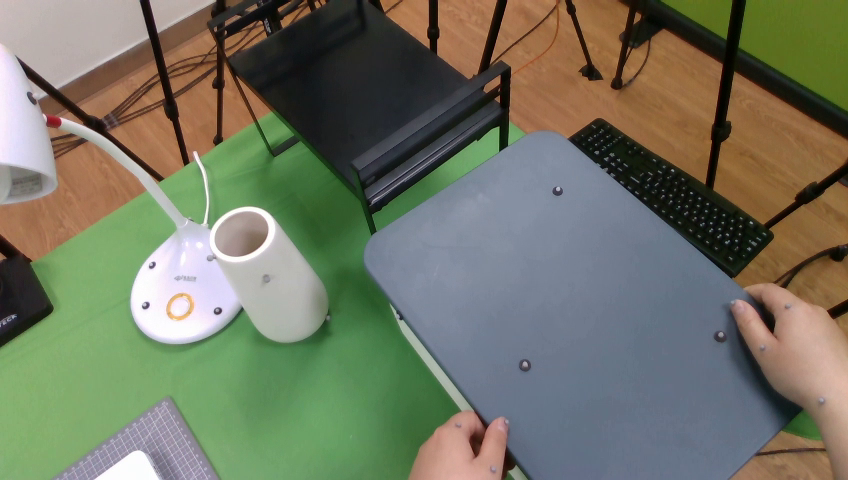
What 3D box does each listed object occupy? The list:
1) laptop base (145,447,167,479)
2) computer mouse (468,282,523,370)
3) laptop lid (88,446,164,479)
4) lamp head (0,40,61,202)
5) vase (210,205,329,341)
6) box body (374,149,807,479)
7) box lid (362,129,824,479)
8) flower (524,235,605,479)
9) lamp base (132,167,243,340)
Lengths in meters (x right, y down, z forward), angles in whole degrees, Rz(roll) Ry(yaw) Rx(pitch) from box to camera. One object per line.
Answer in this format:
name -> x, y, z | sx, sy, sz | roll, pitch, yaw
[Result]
laptop base -> -0.387, 0.411, 0.611 | 0.354, 0.023, 0.233 | -36, 66, -16
computer mouse -> 0.086, 0.101, 0.734 | 0.063, 0.041, 0.116 | -4, 55, 6
laptop lid -> -0.386, 0.407, 0.600 | 0.356, 0.013, 0.239 | -35, 65, -15
lamp head -> -0.347, -0.096, 0.467 | 0.112, 0.113, 0.122 | -10, 76, 0
vase -> -0.178, 0.042, 0.708 | 0.098, 0.202, 0.097 | -3, 58, 6
box body -> 0.152, 0.113, 0.655 | 0.254, 0.162, 0.360 | -34, 62, -14
box lid -> 0.137, 0.060, 0.561 | 0.263, 0.015, 0.368 | -34, 63, -15
flower -> 0.172, 0.151, 0.701 | 0.044, 0.038, 0.358 | -25, 54, 25
lamp base -> -0.319, 0.009, 0.753 | 0.160, 0.182, 0.177 | -7, 56, 1
